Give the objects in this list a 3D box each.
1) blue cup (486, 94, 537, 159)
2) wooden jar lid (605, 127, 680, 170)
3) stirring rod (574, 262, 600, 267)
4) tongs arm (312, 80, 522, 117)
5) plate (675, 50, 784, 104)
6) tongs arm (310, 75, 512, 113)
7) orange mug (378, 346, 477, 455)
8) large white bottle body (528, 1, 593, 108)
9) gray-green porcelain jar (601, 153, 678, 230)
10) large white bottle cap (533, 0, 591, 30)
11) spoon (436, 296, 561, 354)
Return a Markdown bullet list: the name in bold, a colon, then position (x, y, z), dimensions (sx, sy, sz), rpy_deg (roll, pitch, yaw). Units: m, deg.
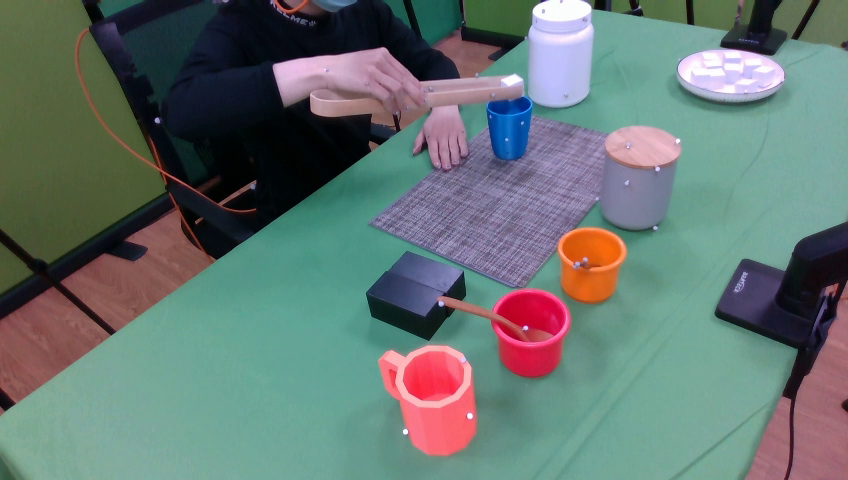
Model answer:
- **blue cup**: position (0.160, -0.208, 1.129), dimensions (0.092, 0.100, 0.092), rpy_deg (-3, 39, 3)
- **wooden jar lid**: position (0.327, -0.134, 0.909), dimensions (0.108, 0.021, 0.108), rpy_deg (-2, 43, 2)
- **stirring rod**: position (0.221, 0.033, 0.816), dimensions (0.014, 0.006, 0.177), rpy_deg (9, 1, 22)
- **tongs arm**: position (0.005, -0.238, 1.003), dimensions (0.390, 0.028, 0.028), rpy_deg (-13, 40, -27)
- **plate**: position (0.632, -0.336, 1.262), dimensions (0.207, 0.039, 0.206), rpy_deg (-4, 41, 4)
- **tongs arm**: position (-0.006, -0.249, 1.019), dimensions (0.387, 0.026, 0.050), rpy_deg (-10, 35, -23)
- **orange mug**: position (0.002, 0.179, 0.709), dimensions (0.125, 0.101, 0.083), rpy_deg (25, 50, 27)
- **large white bottle body**: position (0.283, -0.386, 1.259), dimensions (0.130, 0.185, 0.130), rpy_deg (-4, 41, 4)
- **gray-green porcelain jar**: position (0.334, -0.087, 0.949), dimensions (0.106, 0.127, 0.105), rpy_deg (-4, 40, 4)
- **large white bottle cap**: position (0.274, -0.450, 1.204), dimensions (0.115, 0.018, 0.114), rpy_deg (-4, 41, 4)
- **spoon**: position (0.095, 0.102, 0.750), dimensions (0.195, 0.021, 0.041), rpy_deg (28, 31, -28)
